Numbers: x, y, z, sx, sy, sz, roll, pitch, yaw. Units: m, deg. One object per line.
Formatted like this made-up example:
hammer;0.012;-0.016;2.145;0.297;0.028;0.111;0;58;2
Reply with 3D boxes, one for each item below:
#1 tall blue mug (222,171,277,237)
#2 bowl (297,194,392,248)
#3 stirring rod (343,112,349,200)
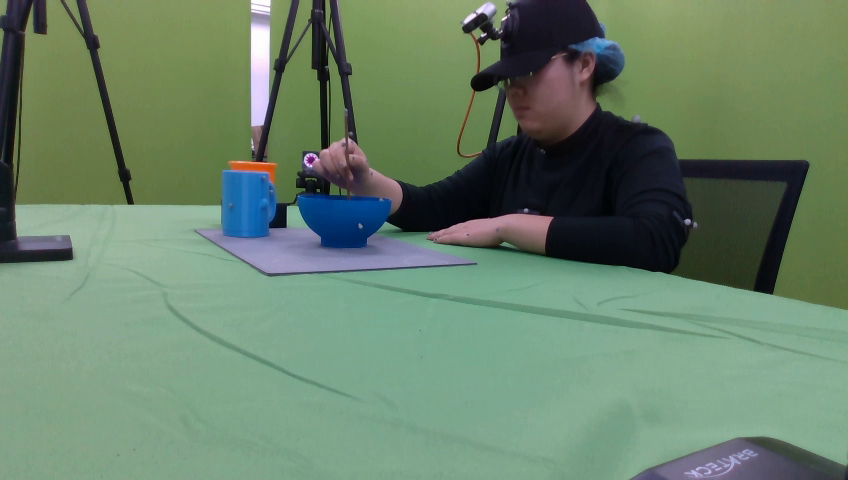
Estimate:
tall blue mug;-0.302;-0.064;1.043;0.078;0.108;0.107;1;7;-4
bowl;-0.127;-0.030;0.964;0.151;0.077;0.151;2;7;0
stirring rod;-0.122;-0.114;0.957;0.006;0.176;0.014;-2;5;-11
